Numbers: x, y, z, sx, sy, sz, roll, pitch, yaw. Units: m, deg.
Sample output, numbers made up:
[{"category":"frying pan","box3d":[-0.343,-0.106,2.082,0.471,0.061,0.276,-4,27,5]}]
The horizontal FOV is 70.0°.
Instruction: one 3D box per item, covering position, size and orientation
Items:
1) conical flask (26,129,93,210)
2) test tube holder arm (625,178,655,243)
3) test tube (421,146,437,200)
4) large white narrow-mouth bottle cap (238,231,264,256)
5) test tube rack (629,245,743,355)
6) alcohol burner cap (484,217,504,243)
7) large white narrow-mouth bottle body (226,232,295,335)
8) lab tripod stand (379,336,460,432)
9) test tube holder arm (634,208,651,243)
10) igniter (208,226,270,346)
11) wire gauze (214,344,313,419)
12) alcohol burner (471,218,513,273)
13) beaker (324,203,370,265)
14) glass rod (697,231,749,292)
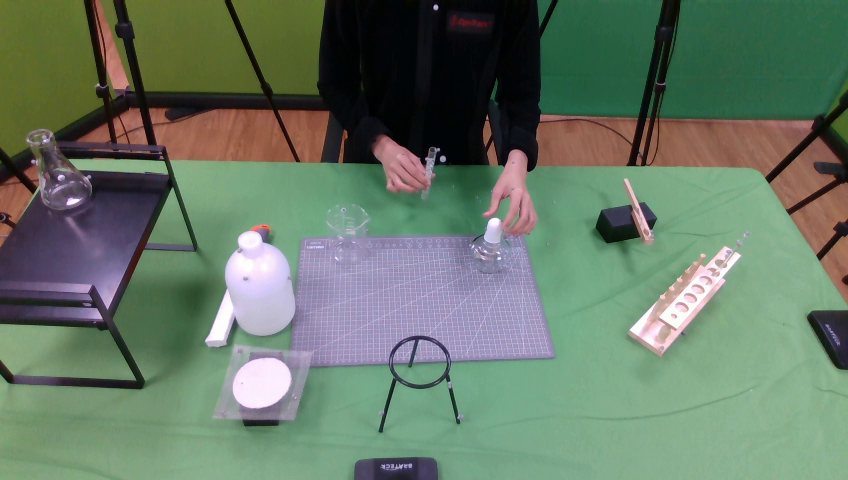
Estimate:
[{"category":"conical flask","box3d":[-0.575,-0.113,0.946,0.075,0.122,0.075,2,46,-2]},{"category":"test tube holder arm","box3d":[0.433,-0.062,1.220,0.013,0.015,0.177,1,47,-3]},{"category":"test tube","box3d":[0.009,-0.128,1.186,0.017,0.151,0.017,3,56,-5]},{"category":"large white narrow-mouth bottle cap","box3d":[-0.266,0.006,0.932,0.038,0.024,0.037,2,46,-2]},{"category":"test tube rack","box3d":[0.474,0.095,1.091,0.242,0.085,0.066,-34,56,-31]},{"category":"alcohol burner cap","box3d":[0.129,-0.022,1.107,0.034,0.048,0.033,4,41,-3]},{"category":"large white narrow-mouth bottle body","box3d":[-0.270,0.065,0.995,0.102,0.195,0.101,2,46,-2]},{"category":"lab tripod stand","box3d":[-0.011,0.214,0.911,0.148,0.132,0.147,1,45,0]},{"category":"test tube holder arm","box3d":[0.428,-0.030,1.189,0.010,0.015,0.087,1,47,-2]},{"category":"igniter","box3d":[-0.331,0.072,1.099,0.057,0.025,0.275,-4,45,10]},{"category":"wire gauze","box3d":[-0.241,0.213,0.915,0.121,0.011,0.124,5,46,1]},{"category":"alcohol burner","box3d":[0.128,0.005,1.132,0.078,0.120,0.077,0,47,0]},{"category":"beaker","box3d":[-0.142,-0.009,1.137,0.084,0.101,0.073,-3,47,-7]},{"category":"glass rod","box3d":[0.515,0.044,1.051,0.008,0.200,0.008,1,55,-1]}]
